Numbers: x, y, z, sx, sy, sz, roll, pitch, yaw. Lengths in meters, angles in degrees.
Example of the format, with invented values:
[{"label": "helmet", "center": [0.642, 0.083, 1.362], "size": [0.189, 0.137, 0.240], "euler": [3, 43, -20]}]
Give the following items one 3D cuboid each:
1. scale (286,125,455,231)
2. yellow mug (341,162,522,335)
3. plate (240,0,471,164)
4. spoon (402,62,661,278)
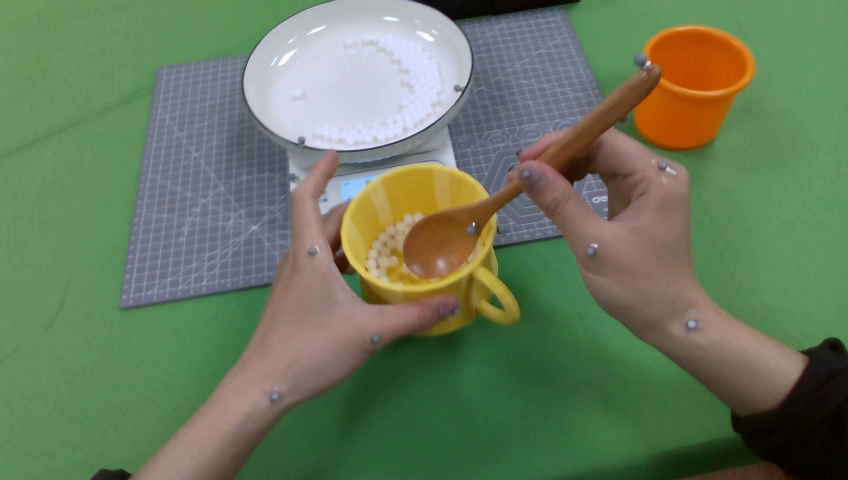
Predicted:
[{"label": "scale", "center": [-0.054, -0.104, 0.567], "size": [0.149, 0.032, 0.199], "euler": [-9, 56, -1]}, {"label": "yellow mug", "center": [0.012, 0.014, 0.402], "size": [0.130, 0.064, 0.100], "euler": [34, 69, 24]}, {"label": "plate", "center": [-0.061, -0.146, 0.556], "size": [0.209, 0.038, 0.207], "euler": [-1, 56, 3]}, {"label": "spoon", "center": [0.052, -0.031, 0.342], "size": [0.042, 0.194, 0.021], "euler": [45, 42, -8]}]
